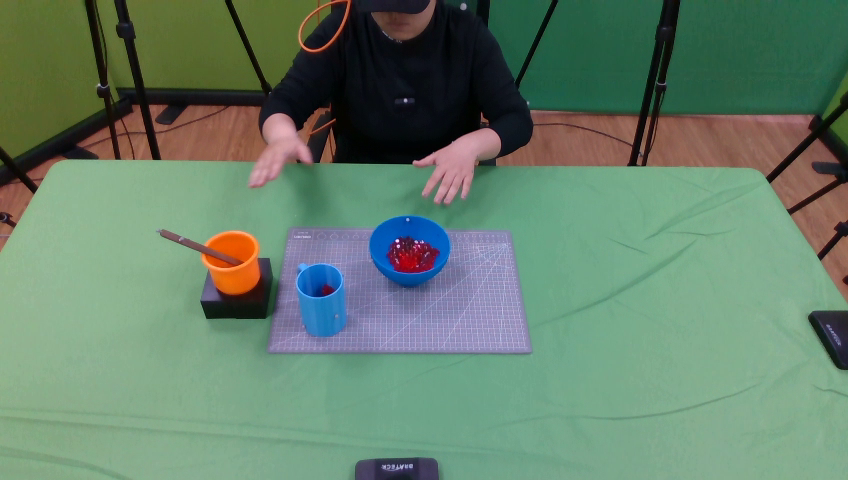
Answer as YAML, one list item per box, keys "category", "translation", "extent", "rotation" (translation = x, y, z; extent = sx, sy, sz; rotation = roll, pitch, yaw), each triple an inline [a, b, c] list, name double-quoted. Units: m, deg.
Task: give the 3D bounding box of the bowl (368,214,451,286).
- category: "bowl"
  translation: [-0.028, 0.031, 1.122]
  extent: [0.151, 0.077, 0.150]
  rotation: [2, 46, -2]

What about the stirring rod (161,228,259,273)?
- category: "stirring rod"
  translation: [-0.351, 0.019, 1.003]
  extent: [0.177, 0.006, 0.014]
  rotation: [29, 34, -38]

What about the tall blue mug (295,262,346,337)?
- category: "tall blue mug"
  translation: [-0.187, 0.096, 1.027]
  extent: [0.107, 0.108, 0.077]
  rotation: [21, 49, 15]
